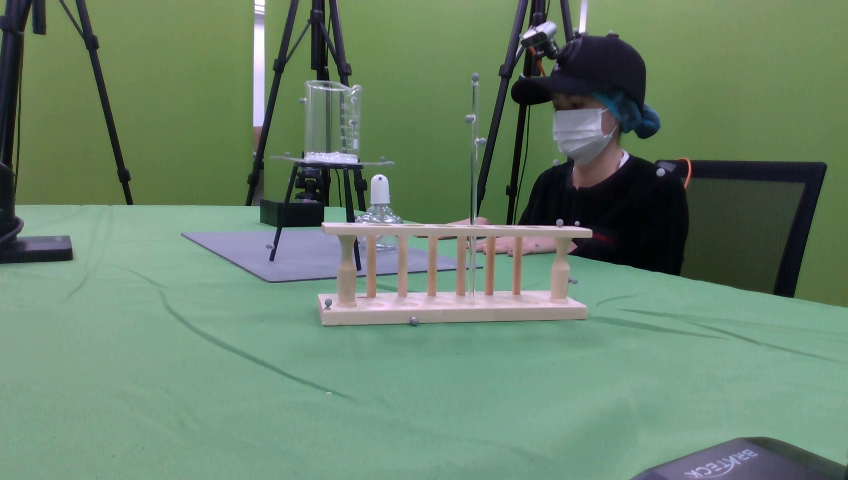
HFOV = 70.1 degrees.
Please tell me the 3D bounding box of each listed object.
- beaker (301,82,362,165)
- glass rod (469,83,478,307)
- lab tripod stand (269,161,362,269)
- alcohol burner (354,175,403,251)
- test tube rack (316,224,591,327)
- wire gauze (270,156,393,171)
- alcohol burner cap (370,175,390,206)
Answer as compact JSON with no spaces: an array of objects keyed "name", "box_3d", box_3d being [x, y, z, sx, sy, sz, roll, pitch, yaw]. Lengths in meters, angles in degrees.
[{"name":"beaker","box_3d":[-0.117,-0.147,0.776,0.074,0.100,0.083,-3,10,-38]},{"name":"glass rod","box_3d":[0.043,-0.033,0.523,0.008,0.199,0.008,-1,14,1]},{"name":"lab tripod stand","box_3d":[-0.125,-0.036,0.794,0.148,0.131,0.148,5,7,0]},{"name":"alcohol burner","box_3d":[-0.072,-0.042,0.944,0.078,0.119,0.078,1,9,0]},{"name":"test tube rack","box_3d":[0.026,0.028,0.555,0.243,0.085,0.066,1,7,-14]},{"name":"wire gauze","box_3d":[-0.122,-0.100,0.786,0.122,0.011,0.124,-5,14,-38]},{"name":"alcohol burner cap","box_3d":[-0.069,-0.077,0.939,0.034,0.048,0.034,-1,6,0]}]
